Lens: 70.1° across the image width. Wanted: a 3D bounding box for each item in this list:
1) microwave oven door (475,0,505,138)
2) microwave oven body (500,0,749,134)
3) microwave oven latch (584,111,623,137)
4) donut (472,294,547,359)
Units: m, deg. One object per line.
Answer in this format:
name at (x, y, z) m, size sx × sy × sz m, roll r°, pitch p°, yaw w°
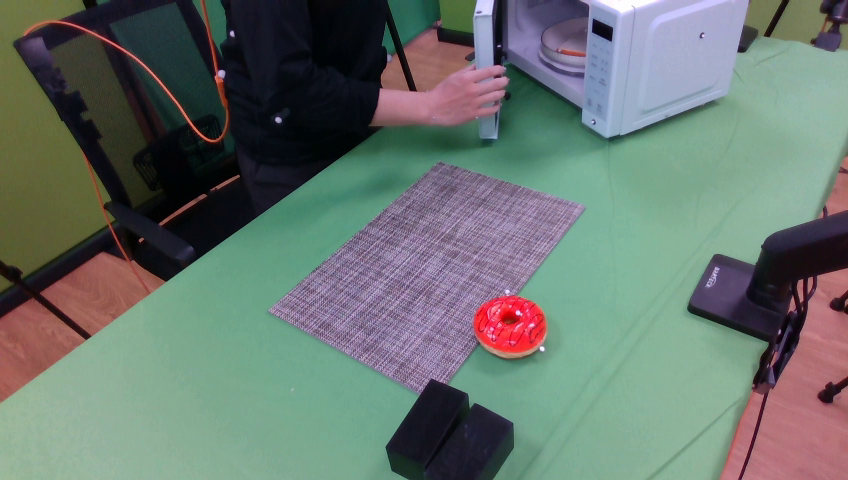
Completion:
microwave oven door at (0.137, -0.404, 1.224) m, size 0.039 × 0.245 × 0.354 m, roll -1°, pitch 41°, yaw 10°
microwave oven body at (0.382, -0.444, 1.246) m, size 0.327 × 0.261 × 0.437 m, roll -22°, pitch 42°, yaw -16°
microwave oven latch at (0.337, -0.222, 1.142) m, size 0.030 × 0.029 × 0.078 m, roll -21°, pitch 42°, yaw -14°
donut at (0.114, 0.114, 0.803) m, size 0.099 × 0.048 × 0.098 m, roll 0°, pitch 40°, yaw 1°
